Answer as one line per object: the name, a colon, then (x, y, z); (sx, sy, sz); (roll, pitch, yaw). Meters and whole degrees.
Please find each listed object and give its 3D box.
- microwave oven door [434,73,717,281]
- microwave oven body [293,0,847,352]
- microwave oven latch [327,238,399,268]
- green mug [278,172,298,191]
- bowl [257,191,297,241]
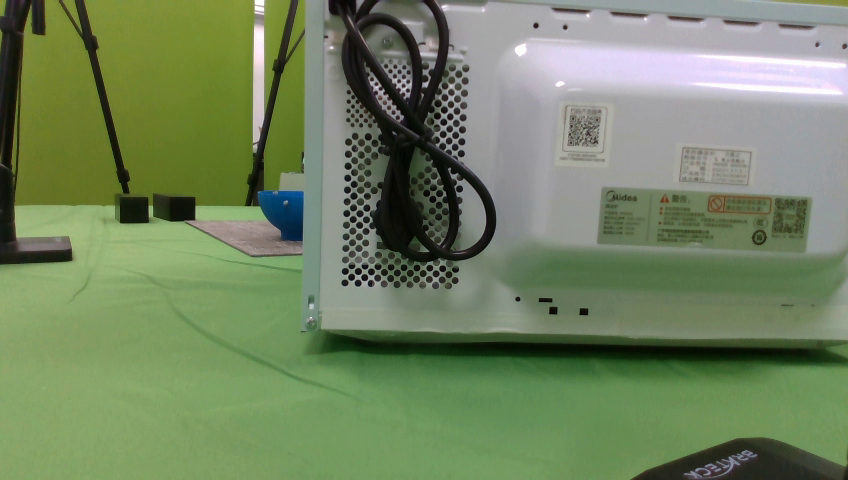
microwave oven door: (0.180, -0.089, 0.794); (0.354, 0.243, 0.039); (7, 7, 30)
microwave oven body: (0.122, -0.055, 0.550); (0.442, 0.260, 0.325); (3, 7, -5)
microwave oven latch: (-0.069, 0.015, 0.694); (0.079, 0.029, 0.030); (3, 7, -3)
green mug: (-0.250, -0.089, 1.279); (0.092, 0.105, 0.126); (9, 9, 40)
bowl: (-0.206, -0.041, 1.027); (0.151, 0.077, 0.151); (3, 8, 0)
